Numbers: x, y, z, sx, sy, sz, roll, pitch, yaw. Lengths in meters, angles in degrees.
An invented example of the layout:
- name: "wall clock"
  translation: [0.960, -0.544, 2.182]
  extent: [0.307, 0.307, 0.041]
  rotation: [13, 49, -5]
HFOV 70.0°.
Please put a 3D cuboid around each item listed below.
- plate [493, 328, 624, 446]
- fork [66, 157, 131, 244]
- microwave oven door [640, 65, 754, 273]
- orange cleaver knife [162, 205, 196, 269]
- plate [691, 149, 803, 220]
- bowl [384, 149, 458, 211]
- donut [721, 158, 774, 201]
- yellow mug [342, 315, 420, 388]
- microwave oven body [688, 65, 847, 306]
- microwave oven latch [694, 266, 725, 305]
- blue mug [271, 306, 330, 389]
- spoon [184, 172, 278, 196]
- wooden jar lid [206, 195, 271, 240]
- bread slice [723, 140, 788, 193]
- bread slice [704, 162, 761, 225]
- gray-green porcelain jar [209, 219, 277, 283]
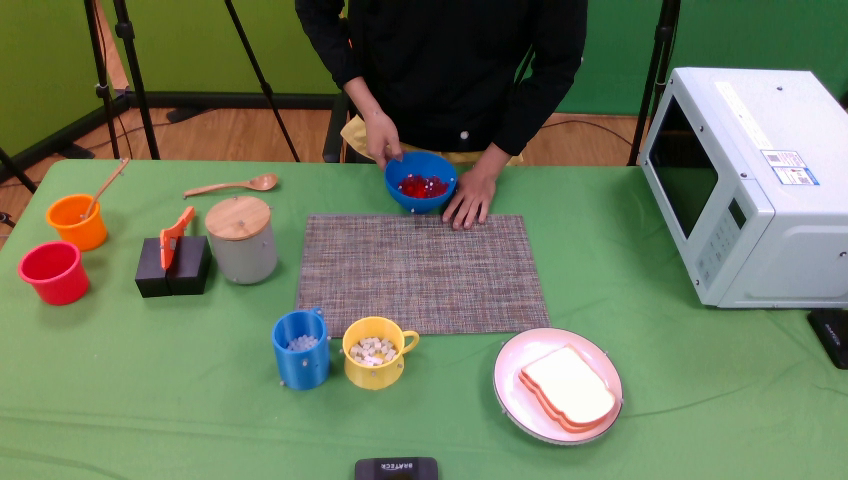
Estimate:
- name: "plate"
  translation: [0.213, 0.236, 0.974]
  extent: [0.208, 0.039, 0.206]
  rotation: [2, 46, -2]
- name: "fork"
  translation: [-0.608, -0.074, 1.132]
  extent: [0.207, 0.019, 0.028]
  rotation: [-52, 48, 10]
- name: "microwave oven door"
  translation: [0.523, -0.147, 1.193]
  extent: [0.039, 0.245, 0.353]
  rotation: [0, 47, -3]
- name: "orange cleaver knife"
  translation: [-0.454, -0.010, 1.129]
  extent: [0.012, 0.077, 0.210]
  rotation: [-2, 20, -5]
- name: "plate"
  translation: [0.652, -0.108, 1.237]
  extent: [0.209, 0.038, 0.208]
  rotation: [-1, 46, 1]
- name: "bowl"
  translation: [-0.009, -0.113, 1.260]
  extent: [0.151, 0.077, 0.150]
  rotation: [3, 48, -3]
- name: "donut"
  translation: [0.648, -0.122, 1.215]
  extent: [0.099, 0.048, 0.098]
  rotation: [-3, 55, 5]
- name: "yellow mug"
  translation: [-0.068, 0.177, 0.990]
  extent: [0.131, 0.064, 0.099]
  rotation: [-16, 50, -19]
- name: "microwave oven body"
  translation: [0.669, -0.111, 1.176]
  extent: [0.326, 0.261, 0.439]
  rotation: [0, 46, -3]
- name: "microwave oven latch"
  translation: [0.523, 0.082, 1.115]
  extent: [0.030, 0.029, 0.078]
  rotation: [3, 46, 0]
- name: "blue mug"
  translation: [-0.188, 0.163, 0.969]
  extent: [0.082, 0.106, 0.116]
  rotation: [15, 47, 10]
- name: "spoon"
  translation: [-0.405, -0.116, 1.275]
  extent: [0.194, 0.022, 0.041]
  rotation: [-8, 66, -12]
- name: "wooden jar lid"
  translation: [-0.319, -0.036, 1.046]
  extent: [0.108, 0.021, 0.107]
  rotation: [1, 44, 0]
- name: "bread slice"
  translation: [0.661, -0.147, 1.201]
  extent: [0.107, 0.018, 0.133]
  rotation: [0, 53, 9]
- name: "bread slice"
  translation: [0.648, -0.103, 1.265]
  extent: [0.105, 0.019, 0.131]
  rotation: [14, 71, 11]
- name: "gray-green porcelain jar"
  translation: [-0.323, 0.007, 1.092]
  extent: [0.106, 0.127, 0.105]
  rotation: [2, 46, -2]
